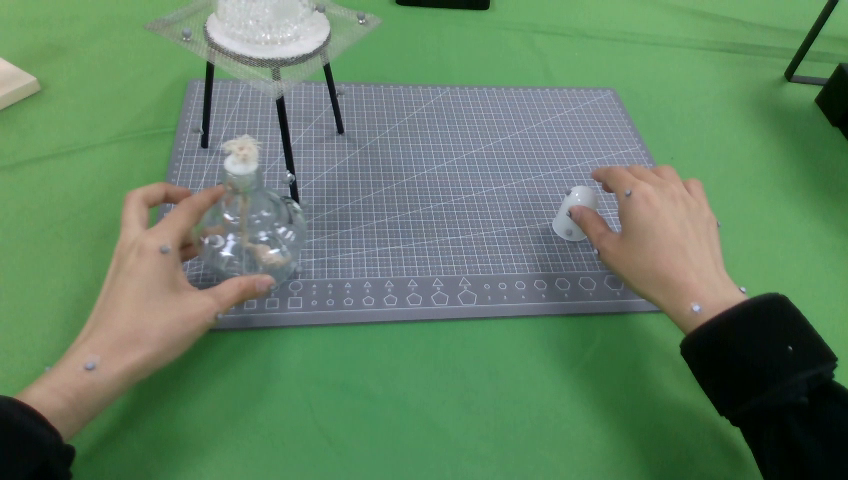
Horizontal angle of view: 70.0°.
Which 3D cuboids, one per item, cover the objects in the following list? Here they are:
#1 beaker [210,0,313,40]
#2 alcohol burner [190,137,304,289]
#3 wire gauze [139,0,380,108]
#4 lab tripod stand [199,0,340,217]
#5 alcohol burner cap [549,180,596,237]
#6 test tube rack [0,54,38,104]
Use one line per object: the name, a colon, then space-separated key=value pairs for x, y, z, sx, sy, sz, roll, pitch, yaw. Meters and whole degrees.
beaker: x=-0.113 y=-0.192 z=0.400 sx=0.073 sy=0.101 sz=0.084 roll=37 pitch=55 yaw=21
alcohol burner: x=-0.122 y=-0.022 z=0.417 sx=0.078 sy=0.120 sz=0.077 roll=5 pitch=46 yaw=-5
wire gauze: x=-0.114 y=-0.156 z=0.434 sx=0.124 sy=0.011 sz=0.121 roll=32 pitch=55 yaw=13
lab tripod stand: x=-0.118 y=-0.113 z=0.483 sx=0.148 sy=0.132 sz=0.147 roll=5 pitch=49 yaw=-6
alcohol burner cap: x=0.127 y=-0.028 z=0.507 sx=0.034 sy=0.048 sz=0.033 roll=4 pitch=48 yaw=-4
test tube rack: x=-0.448 y=-0.116 z=0.473 sx=0.066 sy=0.086 sz=0.241 roll=29 pitch=51 yaw=16
